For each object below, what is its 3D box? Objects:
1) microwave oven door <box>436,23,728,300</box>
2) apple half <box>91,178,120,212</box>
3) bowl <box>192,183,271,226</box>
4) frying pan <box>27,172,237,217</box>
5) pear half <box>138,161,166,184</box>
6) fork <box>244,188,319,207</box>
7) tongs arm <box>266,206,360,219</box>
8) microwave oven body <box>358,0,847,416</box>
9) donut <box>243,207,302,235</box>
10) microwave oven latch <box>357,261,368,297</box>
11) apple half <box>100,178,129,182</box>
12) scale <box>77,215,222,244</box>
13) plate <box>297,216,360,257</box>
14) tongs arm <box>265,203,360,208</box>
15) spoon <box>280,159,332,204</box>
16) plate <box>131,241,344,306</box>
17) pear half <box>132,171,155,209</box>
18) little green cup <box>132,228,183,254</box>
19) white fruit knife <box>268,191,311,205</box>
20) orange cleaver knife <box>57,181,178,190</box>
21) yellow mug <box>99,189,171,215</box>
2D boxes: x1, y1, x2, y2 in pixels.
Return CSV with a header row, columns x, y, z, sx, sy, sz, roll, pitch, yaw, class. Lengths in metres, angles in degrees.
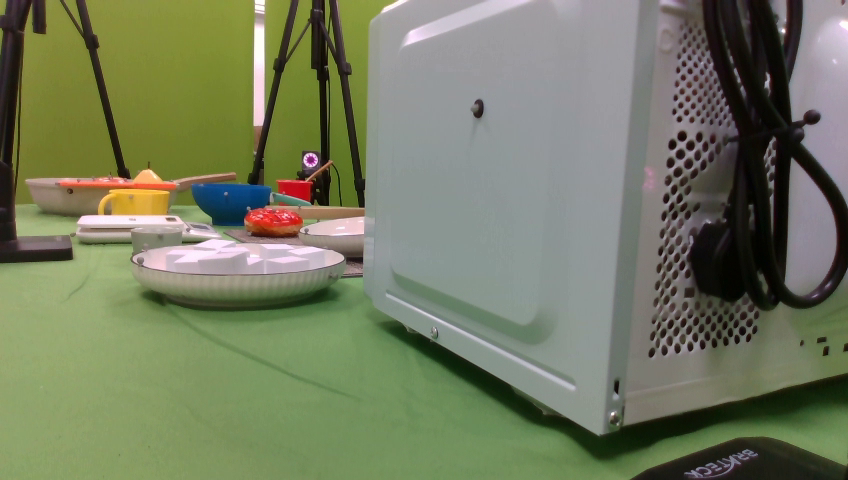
x,y,z,sx,sy,sz,roll,pitch,yaw,class
0.180,-0.072,0.621,0.358,0.243,0.039,-2,9,-29,microwave oven door
-0.677,-0.096,1.271,0.033,0.081,0.081,7,8,10,apple half
-0.382,-0.071,1.202,0.151,0.077,0.151,3,7,0,bowl
-0.624,-0.118,1.387,0.305,0.102,0.490,8,17,32,frying pan
-0.602,-0.120,1.354,0.056,0.110,0.076,4,11,5,pear half
-0.356,-0.105,1.526,0.208,0.018,0.028,16,-5,-41,fork
-0.174,-0.061,1.363,0.387,0.026,0.050,-1,4,-31,tongs arm
0.211,-0.047,0.475,0.444,0.260,0.324,-1,7,-28,microwave oven body
-0.261,-0.032,1.043,0.099,0.048,0.099,4,9,0,donut
-0.019,0.033,0.531,0.079,0.029,0.030,-1,7,-27,microwave oven latch
-0.638,-0.092,1.265,0.053,0.074,0.081,7,5,10,apple half
-0.434,-0.019,0.963,0.202,0.031,0.148,-1,9,-27,scale
-0.079,-0.008,0.886,0.209,0.038,0.209,-3,9,1,plate
-0.211,-0.070,1.440,0.389,0.027,0.028,1,0,-17,tongs arm
-0.316,-0.159,1.640,0.194,0.022,0.041,-50,32,-20,spoon
-0.187,0.033,0.625,0.208,0.039,0.207,2,7,0,plate
-0.636,-0.113,1.362,0.031,0.088,0.070,3,13,1,pear half
-0.342,0.006,0.779,0.061,0.038,0.061,2,8,0,little green cup
-0.364,-0.105,1.464,0.208,0.027,0.016,15,0,-34,white fruit knife
-0.600,-0.109,1.189,0.212,0.012,0.077,-1,11,-26,orange cleaver knife
-0.519,-0.055,1.080,0.099,0.064,0.131,7,10,26,yellow mug
